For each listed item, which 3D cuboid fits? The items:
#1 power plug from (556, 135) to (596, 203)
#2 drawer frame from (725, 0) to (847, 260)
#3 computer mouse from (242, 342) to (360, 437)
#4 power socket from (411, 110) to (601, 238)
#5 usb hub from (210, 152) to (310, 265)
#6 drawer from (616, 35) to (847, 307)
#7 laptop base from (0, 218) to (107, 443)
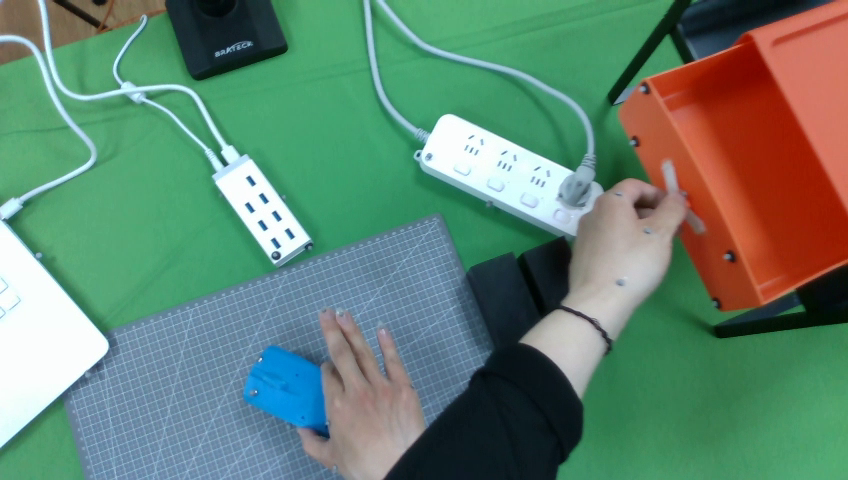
[{"bbox_3d":[0.178,-0.074,0.683,0.035,0.053,0.072,37,78,6],"label":"power plug"},{"bbox_3d":[0.385,-0.111,0.512,0.214,0.083,0.201,-22,80,-7],"label":"drawer frame"},{"bbox_3d":[-0.126,0.152,0.617,0.117,0.041,0.062,23,80,6],"label":"computer mouse"},{"bbox_3d":[0.097,-0.076,0.699,0.226,0.033,0.072,26,79,3],"label":"power socket"},{"bbox_3d":[-0.185,-0.036,0.682,0.049,0.025,0.124,-36,83,-7],"label":"usb hub"},{"bbox_3d":[0.298,-0.074,0.501,0.212,0.073,0.193,-22,80,-6],"label":"drawer"},{"bbox_3d":[-0.540,0.148,0.633,0.354,0.023,0.235,-44,86,-9],"label":"laptop base"}]
